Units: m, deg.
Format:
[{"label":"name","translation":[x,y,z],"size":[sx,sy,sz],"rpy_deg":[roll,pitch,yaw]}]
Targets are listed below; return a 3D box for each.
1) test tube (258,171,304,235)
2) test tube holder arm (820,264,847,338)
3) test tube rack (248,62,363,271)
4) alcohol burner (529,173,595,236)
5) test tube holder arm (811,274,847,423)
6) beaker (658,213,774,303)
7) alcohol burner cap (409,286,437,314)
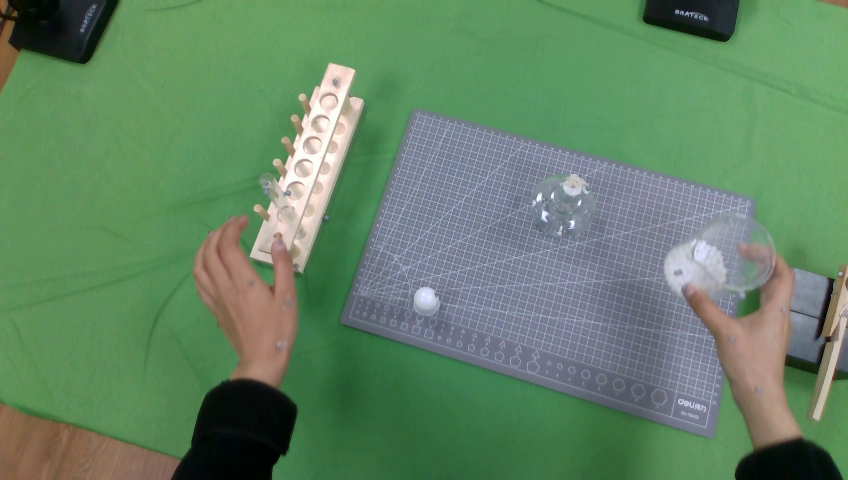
[{"label":"test tube","translation":[-0.156,-0.037,0.671],"size":[0.017,0.151,0.017],"rpy_deg":[0,70,1]},{"label":"test tube holder arm","translation":[0.456,0.068,0.672],"size":[0.010,0.015,0.087],"rpy_deg":[19,78,8]},{"label":"test tube rack","translation":[-0.149,-0.092,0.737],"size":[0.066,0.085,0.241],"rpy_deg":[17,76,6]},{"label":"alcohol burner","translation":[0.162,-0.047,0.703],"size":[0.078,0.120,0.077],"rpy_deg":[-1,75,3]},{"label":"test tube holder arm","translation":[0.447,0.112,0.662],"size":[0.013,0.015,0.178],"rpy_deg":[17,77,7]},{"label":"beaker","translation":[0.287,0.023,0.614],"size":[0.084,0.101,0.073],"rpy_deg":[-4,75,-2]},{"label":"alcohol burner cap","translation":[-0.001,0.068,0.712],"size":[0.034,0.048,0.033],"rpy_deg":[0,76,0]}]
